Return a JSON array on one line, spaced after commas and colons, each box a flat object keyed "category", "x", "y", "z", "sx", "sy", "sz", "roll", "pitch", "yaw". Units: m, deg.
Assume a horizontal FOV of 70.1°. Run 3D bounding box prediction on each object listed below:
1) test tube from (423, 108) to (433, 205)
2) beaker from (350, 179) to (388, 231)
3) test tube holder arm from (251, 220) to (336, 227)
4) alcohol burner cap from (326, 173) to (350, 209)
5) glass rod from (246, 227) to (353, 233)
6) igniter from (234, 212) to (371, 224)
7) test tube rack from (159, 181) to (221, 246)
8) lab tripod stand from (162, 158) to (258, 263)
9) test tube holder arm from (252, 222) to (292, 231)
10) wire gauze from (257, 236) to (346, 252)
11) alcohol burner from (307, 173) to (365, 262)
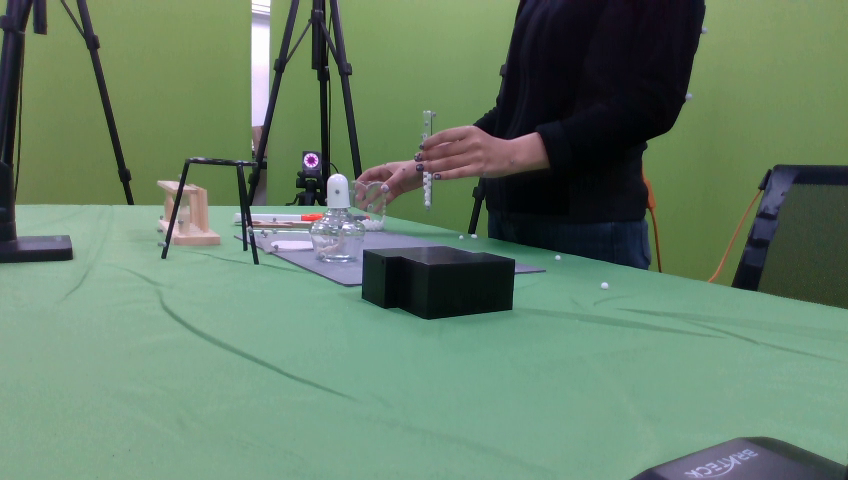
[{"category": "test tube", "x": 0.006, "y": -0.130, "z": 0.947, "sx": 0.017, "sy": 0.150, "sz": 0.017, "roll": 0, "pitch": 8, "yaw": 0}, {"category": "beaker", "x": -0.111, "y": -0.070, "z": 1.205, "sx": 0.074, "sy": 0.100, "sz": 0.084, "roll": 3, "pitch": 8, "yaw": 0}, {"category": "test tube holder arm", "x": -0.254, "y": -0.030, "z": 1.156, "sx": 0.179, "sy": 0.015, "sz": 0.013, "roll": -2, "pitch": 43, "yaw": -30}, {"category": "alcohol burner cap", "x": -0.117, "y": -0.065, "z": 0.808, "sx": 0.034, "sy": 0.048, "sz": 0.034, "roll": -3, "pitch": 10, "yaw": 1}, {"category": "glass rod", "x": -0.224, "y": -0.017, "z": 1.109, "sx": 0.201, "sy": 0.008, "sz": 0.008, "roll": 1, "pitch": 7, "yaw": -27}, {"category": "igniter", "x": -0.246, "y": -0.045, "z": 1.248, "sx": 0.278, "sy": 0.025, "sz": 0.057, "roll": -1, "pitch": -2, "yaw": -25}, {"category": "test tube rack", "x": -0.395, "y": -0.050, "z": 1.010, "sx": 0.067, "sy": 0.085, "sz": 0.241, "roll": -1, "pitch": 8, "yaw": -28}, {"category": "lab tripod stand", "x": -0.265, "y": -0.041, "z": 0.802, "sx": 0.148, "sy": 0.131, "sz": 0.148, "roll": 4, "pitch": 7, "yaw": 0}, {"category": "test tube holder arm", "x": -0.291, "y": -0.026, "z": 1.130, "sx": 0.088, "sy": 0.015, "sz": 0.010, "roll": -1, "pitch": 43, "yaw": -30}, {"category": "wire gauze", "x": -0.190, "y": 0.005, "z": 0.931, "sx": 0.122, "sy": 0.011, "sz": 0.124, "roll": 1, "pitch": 7, "yaw": -21}, {"category": "alcohol burner", "x": -0.117, "y": -0.030, "z": 0.813, "sx": 0.078, "sy": 0.119, "sz": 0.078, "roll": 4, "pitch": 9, "yaw": 0}]
